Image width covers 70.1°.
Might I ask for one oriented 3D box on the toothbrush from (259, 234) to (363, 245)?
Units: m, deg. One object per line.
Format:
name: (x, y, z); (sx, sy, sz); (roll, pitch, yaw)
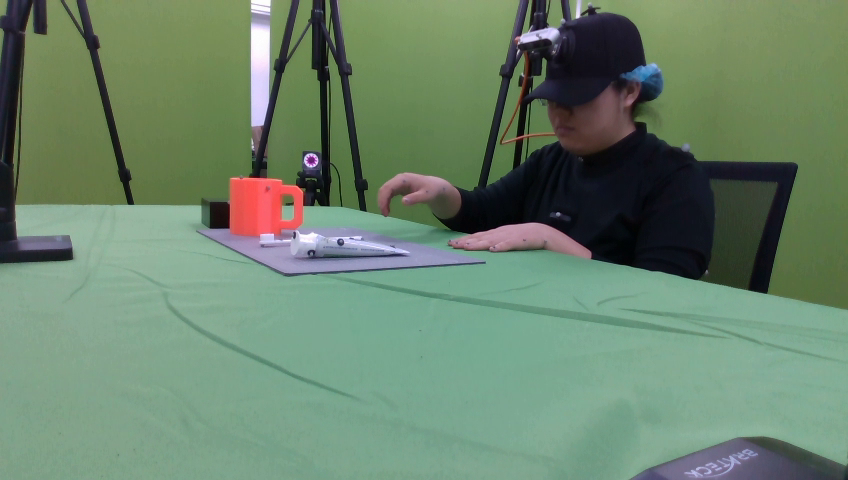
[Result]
toothbrush: (-0.175, -0.002, 0.958); (0.183, 0.016, 0.014); (-1, -4, -39)

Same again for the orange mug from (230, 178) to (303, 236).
orange mug: (-0.275, -0.060, 1.058); (0.126, 0.101, 0.083); (-2, 8, -5)

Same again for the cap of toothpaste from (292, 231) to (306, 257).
cap of toothpaste: (-0.169, 0.005, 0.812); (0.011, 0.037, 0.037); (6, 4, -29)

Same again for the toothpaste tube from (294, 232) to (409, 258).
toothpaste tube: (-0.102, 0.010, 0.853); (0.166, 0.034, 0.055); (3, 11, -34)
